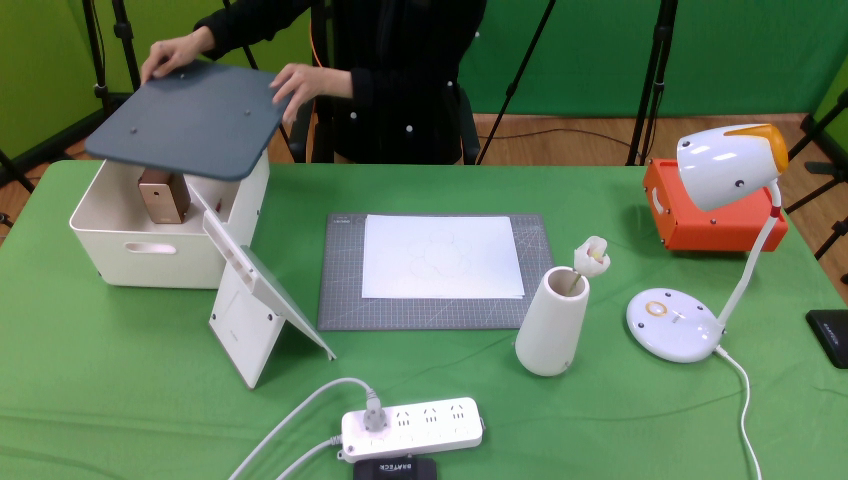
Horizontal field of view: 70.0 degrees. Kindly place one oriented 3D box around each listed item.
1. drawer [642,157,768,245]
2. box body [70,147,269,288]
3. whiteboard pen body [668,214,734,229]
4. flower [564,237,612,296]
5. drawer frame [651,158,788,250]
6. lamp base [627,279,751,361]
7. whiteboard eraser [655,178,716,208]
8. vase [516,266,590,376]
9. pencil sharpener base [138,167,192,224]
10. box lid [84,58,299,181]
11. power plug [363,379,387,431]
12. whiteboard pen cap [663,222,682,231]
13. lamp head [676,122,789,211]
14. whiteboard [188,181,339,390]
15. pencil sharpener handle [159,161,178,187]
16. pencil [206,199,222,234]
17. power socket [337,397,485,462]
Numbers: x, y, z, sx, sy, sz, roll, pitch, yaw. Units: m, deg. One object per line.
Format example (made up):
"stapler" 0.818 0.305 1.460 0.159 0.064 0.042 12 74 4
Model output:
"drawer" 0.564 -0.075 1.210 0.212 0.073 0.193 3 45 -1
"box body" -0.450 -0.087 1.148 0.254 0.161 0.361 2 46 -2
"whiteboard pen body" 0.547 -0.035 1.200 0.141 0.017 0.017 -8 48 -9
"flower" 0.206 0.088 0.892 0.038 0.363 0.044 -16 67 -9
"drawer frame" 0.571 -0.074 1.213 0.214 0.083 0.200 1 46 0
"lamp base" 0.460 0.100 1.027 0.178 0.181 0.160 27 51 17
"whiteboard eraser" 0.538 -0.095 1.251 0.113 0.042 0.055 4 52 -10
"vase" 0.208 0.132 0.964 0.098 0.201 0.097 3 46 -3
"pencil sharpener base" -0.502 -0.093 1.181 0.061 0.107 0.076 0 45 -2
"box lid" -0.391 -0.225 1.075 0.263 0.015 0.369 10 39 -1
"power plug" -0.072 0.252 0.910 0.035 0.053 0.072 3 45 -1
"whiteboard pen cap" 0.488 -0.027 1.188 0.033 0.018 0.018 0 46 -14
"lamp head" 0.423 -0.104 0.819 0.122 0.113 0.112 -13 33 40
"whiteboard" -0.292 0.096 0.929 0.144 0.307 0.216 -38 57 -11
"pencil sharpener handle" -0.506 -0.138 1.208 0.036 0.068 0.030 11 44 -12
"pencil" -0.419 -0.017 1.181 0.012 0.012 0.193 3 45 -2
"power socket" -0.018 0.285 0.915 0.227 0.033 0.071 -5 46 -8
